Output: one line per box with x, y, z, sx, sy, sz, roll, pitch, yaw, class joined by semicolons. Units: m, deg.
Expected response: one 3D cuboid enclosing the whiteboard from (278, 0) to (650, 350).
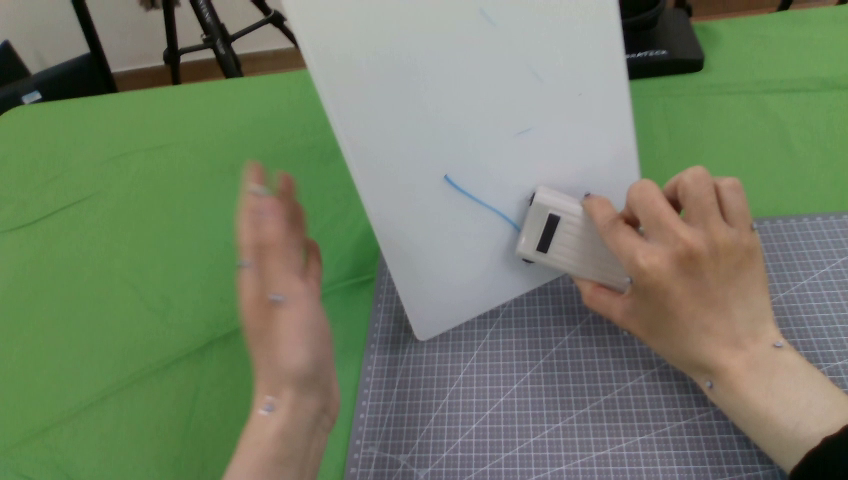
0.029;-0.111;0.479;0.217;0.308;0.142;-24;28;-8;whiteboard

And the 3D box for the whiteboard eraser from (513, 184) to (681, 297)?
0.127;-0.001;0.453;0.112;0.056;0.041;19;24;7;whiteboard eraser
